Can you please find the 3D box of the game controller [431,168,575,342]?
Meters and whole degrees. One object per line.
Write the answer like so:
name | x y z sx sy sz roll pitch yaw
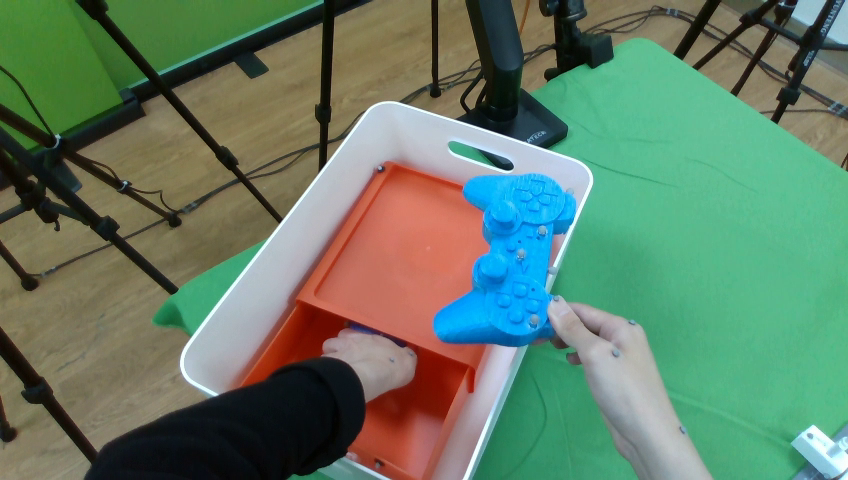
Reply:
game controller | 0.065 0.007 0.480 0.097 0.052 0.154 11 64 7

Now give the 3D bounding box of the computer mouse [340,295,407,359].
computer mouse | -0.053 0.087 0.655 0.063 0.041 0.116 -6 17 4

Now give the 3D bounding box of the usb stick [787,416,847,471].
usb stick | 0.384 0.201 0.581 0.021 0.027 0.058 -28 63 -23

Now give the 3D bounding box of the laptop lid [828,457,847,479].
laptop lid | 0.444 0.364 0.471 0.241 0.013 0.353 -34 62 -17

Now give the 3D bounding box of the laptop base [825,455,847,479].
laptop base | 0.446 0.370 0.481 0.235 0.023 0.351 -36 63 -17

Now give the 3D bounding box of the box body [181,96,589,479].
box body | -0.017 0.055 0.615 0.253 0.162 0.362 21 59 14
